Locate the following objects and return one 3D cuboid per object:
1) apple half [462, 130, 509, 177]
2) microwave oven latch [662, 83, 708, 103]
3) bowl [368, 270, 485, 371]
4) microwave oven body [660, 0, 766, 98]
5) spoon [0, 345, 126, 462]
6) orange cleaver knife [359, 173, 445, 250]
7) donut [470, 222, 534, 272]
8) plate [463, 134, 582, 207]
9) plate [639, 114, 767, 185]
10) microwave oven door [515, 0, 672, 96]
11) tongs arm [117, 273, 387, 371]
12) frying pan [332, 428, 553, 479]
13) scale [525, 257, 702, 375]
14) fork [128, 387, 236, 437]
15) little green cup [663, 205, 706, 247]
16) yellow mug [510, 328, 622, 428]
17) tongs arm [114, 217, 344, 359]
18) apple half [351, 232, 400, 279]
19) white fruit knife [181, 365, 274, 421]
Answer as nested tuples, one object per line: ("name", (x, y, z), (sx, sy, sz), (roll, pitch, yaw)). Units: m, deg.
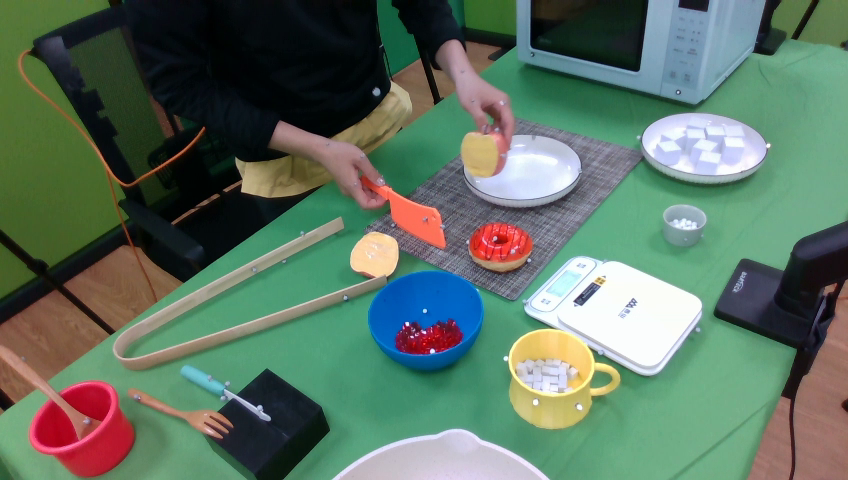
("apple half", (0.107, -0.143, 0.991), (0.080, 0.075, 0.054), (10, 20, 44))
("microwave oven latch", (0.517, -0.296, 1.204), (0.078, 0.029, 0.030), (28, 52, 35))
("bowl", (0.007, 0.118, 0.791), (0.151, 0.077, 0.150), (-5, 40, 4))
("microwave oven body", (0.472, -0.513, 1.317), (0.438, 0.261, 0.327), (26, 51, 34))
("spoon", (-0.434, 0.192, 0.720), (0.194, 0.021, 0.042), (47, 53, -7))
("orange cleaver knife", (-0.039, -0.049, 0.992), (0.012, 0.077, 0.209), (-27, 43, -34))
("donut", (0.118, 0.009, 0.923), (0.099, 0.048, 0.098), (-3, 38, 3))
("plate", (0.173, -0.119, 1.070), (0.209, 0.038, 0.208), (-4, 40, 4))
("plate", (0.489, -0.157, 1.074), (0.207, 0.039, 0.206), (-4, 40, 4))
("microwave oven door", (0.344, -0.455, 1.259), (0.353, 0.245, 0.039), (26, 51, 33))
("tongs arm", (-0.237, 0.116, 0.870), (0.389, 0.028, 0.028), (-18, 49, -12))
("frying pan", (-0.089, 0.306, 0.564), (0.487, 0.103, 0.306), (10, 41, 7))
("scale", (0.254, 0.091, 0.821), (0.199, 0.032, 0.149), (28, 51, 35))
("fork", (-0.305, 0.207, 0.744), (0.206, 0.019, 0.028), (3, 42, 36))
("little green cup", (0.396, -0.020, 0.926), (0.061, 0.039, 0.061), (-4, 40, 4))
("yellow mug", (0.168, 0.164, 0.722), (0.130, 0.064, 0.099), (0, 40, 8))
("tongs arm", (-0.280, 0.068, 0.927), (0.386, 0.026, 0.050), (-29, 49, -22))
("apple half", (-0.070, 0.029, 0.939), (0.081, 0.033, 0.081), (-2, 64, 6))
("white fruit knife", (-0.245, 0.187, 0.747), (0.205, 0.027, 0.016), (9, 41, 40))
